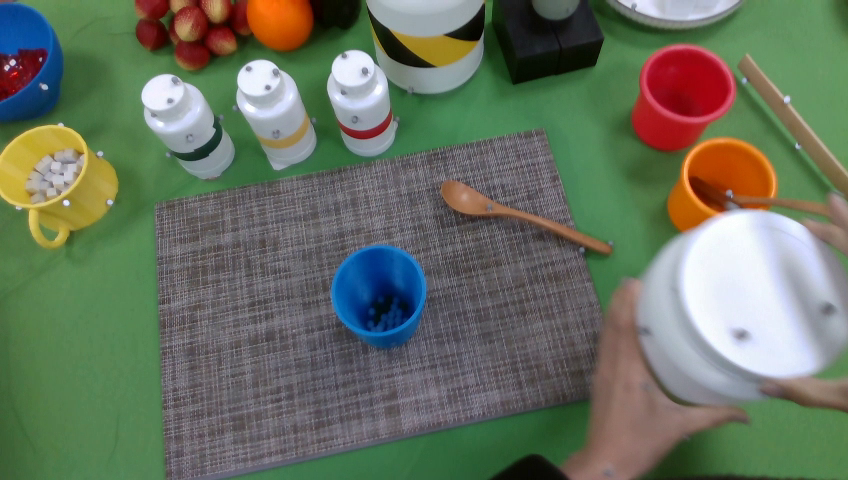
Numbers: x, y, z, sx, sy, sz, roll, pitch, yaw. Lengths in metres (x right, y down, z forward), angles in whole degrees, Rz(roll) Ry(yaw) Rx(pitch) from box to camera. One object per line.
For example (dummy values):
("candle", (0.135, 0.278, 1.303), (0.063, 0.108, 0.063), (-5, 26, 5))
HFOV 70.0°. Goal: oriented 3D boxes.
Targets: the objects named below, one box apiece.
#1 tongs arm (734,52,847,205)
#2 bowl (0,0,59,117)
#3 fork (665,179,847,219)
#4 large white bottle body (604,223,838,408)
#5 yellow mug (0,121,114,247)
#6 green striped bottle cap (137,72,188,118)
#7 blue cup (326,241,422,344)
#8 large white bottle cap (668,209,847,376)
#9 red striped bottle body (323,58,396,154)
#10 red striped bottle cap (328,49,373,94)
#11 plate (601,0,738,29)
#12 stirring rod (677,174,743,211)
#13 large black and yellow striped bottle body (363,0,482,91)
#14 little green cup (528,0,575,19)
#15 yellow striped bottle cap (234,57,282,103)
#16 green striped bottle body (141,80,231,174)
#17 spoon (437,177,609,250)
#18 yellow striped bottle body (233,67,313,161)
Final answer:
("tongs arm", (0.464, -0.059, 0.643), (0.051, 0.027, 0.382), (-23, 71, -9))
("bowl", (-0.491, -0.198, 0.708), (0.151, 0.077, 0.150), (0, 69, 1))
("fork", (0.325, -0.038, 0.580), (0.028, 0.019, 0.205), (-49, 31, -15))
("large white bottle body", (0.230, 0.062, 0.489), (0.130, 0.186, 0.129), (-1, 70, 2))
("yellow mug", (-0.405, -0.056, 0.657), (0.100, 0.064, 0.130), (-2, 69, 0))
("green striped bottle cap", (-0.260, -0.144, 0.601), (0.044, 0.020, 0.044), (0, 68, 2))
("blue cup", (-0.043, 0.059, 0.578), (0.092, 0.101, 0.092), (0, 68, 1))
("large white bottle cap", (0.226, 0.033, 0.410), (0.115, 0.018, 0.114), (0, 70, 1))
("red striped bottle body", (-0.070, -0.149, 0.652), (0.063, 0.120, 0.062), (-2, 67, 6))
("red striped bottle cap", (-0.074, -0.169, 0.603), (0.044, 0.018, 0.044), (1, 67, -1))
("plate", (0.299, -0.346, 0.758), (0.209, 0.038, 0.207), (-1, 70, 2))
("stirring rod", (0.294, -0.033, 0.586), (0.014, 0.006, 0.174), (-9, 26, -4))
("large black and yellow striped bottle body", (-0.002, -0.267, 0.660), (0.131, 0.185, 0.130), (-1, 69, 2))
("little green cup", (0.146, -0.284, 0.686), (0.061, 0.039, 0.061), (0, 67, 1))
("yellow striped bottle cap", (-0.166, -0.160, 0.604), (0.044, 0.019, 0.044), (0, 70, 1))
("green striped bottle body", (-0.257, -0.125, 0.650), (0.063, 0.120, 0.062), (-1, 68, 2))
("spoon", (0.104, -0.026, 0.647), (0.193, 0.022, 0.041), (19, 46, 8))
("yellow striped bottle body", (-0.163, -0.141, 0.652), (0.063, 0.121, 0.062), (-1, 68, 3))
